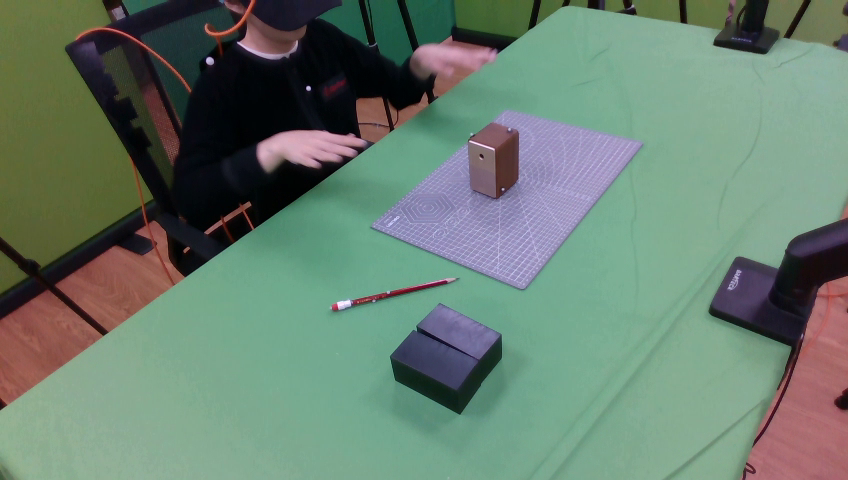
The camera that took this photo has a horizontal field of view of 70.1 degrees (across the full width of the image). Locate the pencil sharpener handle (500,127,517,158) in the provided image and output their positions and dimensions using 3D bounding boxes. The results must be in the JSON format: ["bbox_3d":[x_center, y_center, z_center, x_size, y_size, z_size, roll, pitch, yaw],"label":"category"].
[{"bbox_3d":[0.155,-0.177,1.071,0.036,0.068,0.031,32,53,24],"label":"pencil sharpener handle"}]

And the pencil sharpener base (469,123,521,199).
[{"bbox_3d":[0.126,-0.138,1.050,0.061,0.107,0.077,24,50,33],"label":"pencil sharpener base"}]

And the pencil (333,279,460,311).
[{"bbox_3d":[-0.040,0.080,0.900,0.194,0.012,0.012,-12,40,-8],"label":"pencil"}]
